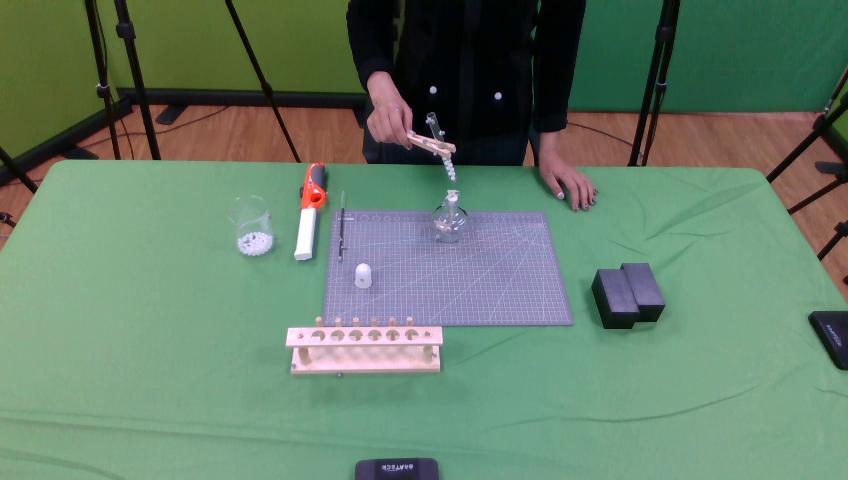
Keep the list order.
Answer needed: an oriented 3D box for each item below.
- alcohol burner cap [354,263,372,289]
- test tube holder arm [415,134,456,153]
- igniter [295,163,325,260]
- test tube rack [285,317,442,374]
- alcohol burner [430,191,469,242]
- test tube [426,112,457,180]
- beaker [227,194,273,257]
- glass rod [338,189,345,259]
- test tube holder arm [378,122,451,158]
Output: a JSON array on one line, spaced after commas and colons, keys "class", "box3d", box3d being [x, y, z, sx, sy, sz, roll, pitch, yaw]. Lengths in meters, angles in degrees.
[{"class": "alcohol burner cap", "box3d": [-0.113, 0.063, 1.111, 0.034, 0.048, 0.033, 2, 46, -2]}, {"class": "test tube holder arm", "box3d": [0.018, -0.173, 1.083, 0.087, 0.015, 0.010, 19, 57, 30]}, {"class": "igniter", "box3d": [-0.233, -0.067, 1.243, 0.057, 0.025, 0.274, -7, 46, 4]}, {"class": "test tube rack", "box3d": [-0.095, 0.166, 0.988, 0.242, 0.085, 0.066, 0, 46, -4]}, {"class": "alcohol burner", "box3d": [0.052, -0.053, 1.185, 0.078, 0.119, 0.077, 2, 48, -2]}, {"class": "test tube", "box3d": [0.033, -0.163, 1.068, 0.017, 0.151, 0.017, -12, 45, 13]}, {"class": "beaker", "box3d": [-0.326, -0.022, 1.142, 0.074, 0.101, 0.083, 10, 47, 6]}, {"class": "glass rod", "box3d": [-0.166, -0.036, 1.227, 0.008, 0.008, 0.198, -1, 46, -4]}, {"class": "test tube holder arm", "box3d": [-0.020, -0.185, 1.105, 0.177, 0.015, 0.013, 27, 60, 34]}]
